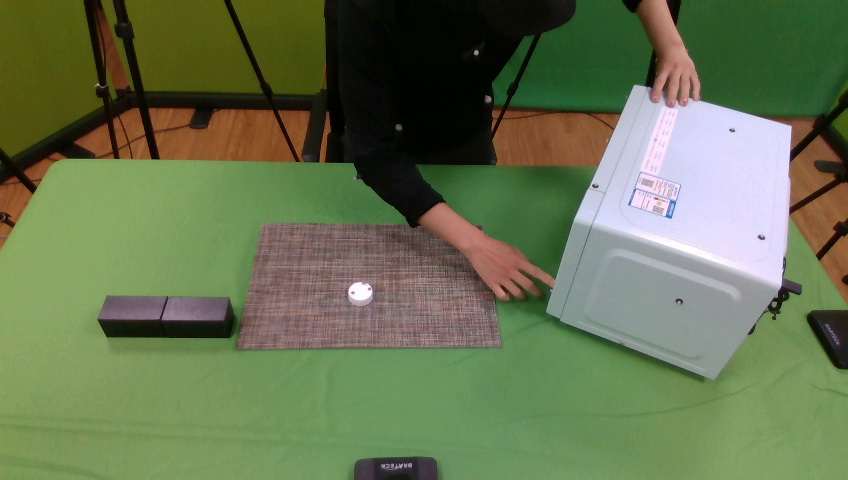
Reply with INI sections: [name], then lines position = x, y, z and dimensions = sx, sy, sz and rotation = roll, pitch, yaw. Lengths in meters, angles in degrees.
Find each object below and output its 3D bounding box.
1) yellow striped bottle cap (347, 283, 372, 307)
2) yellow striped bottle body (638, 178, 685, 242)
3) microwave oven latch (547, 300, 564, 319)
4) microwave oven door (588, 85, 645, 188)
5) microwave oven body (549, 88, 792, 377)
[yellow striped bottle cap]
position = -0.117, 0.098, 1.093
dimensions = 0.044, 0.019, 0.044
rotation = 3, 44, -3
[yellow striped bottle body]
position = 0.442, -0.058, 1.125
dimensions = 0.063, 0.121, 0.062
rotation = -1, 47, 1
[microwave oven latch]
position = 0.242, 0.102, 1.081
dimensions = 0.030, 0.029, 0.079
rotation = 21, 48, 17
[microwave oven door]
position = 0.342, -0.107, 1.149
dimensions = 0.039, 0.245, 0.354
rotation = 20, 48, 15
[microwave oven body]
position = 0.456, -0.028, 1.088
dimensions = 0.325, 0.261, 0.440
rotation = 20, 47, 16
